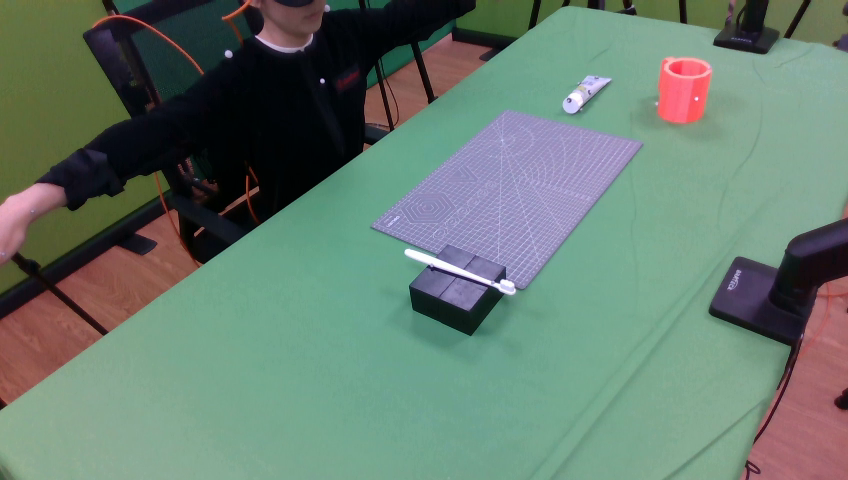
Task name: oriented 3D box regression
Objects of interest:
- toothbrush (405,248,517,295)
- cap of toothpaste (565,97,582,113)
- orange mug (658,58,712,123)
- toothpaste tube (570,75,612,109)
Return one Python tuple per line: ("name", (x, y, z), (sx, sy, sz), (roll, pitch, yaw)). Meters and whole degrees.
("toothbrush", (0.048, 0.041, 0.850), (0.180, 0.017, 0.014), (19, 52, 28))
("cap of toothpaste", (0.306, -0.278, 1.239), (0.037, 0.037, 0.011), (17, 43, 26))
("orange mug", (0.504, -0.304, 1.193), (0.083, 0.101, 0.125), (-13, 45, -5))
("toothpaste tube", (0.351, -0.319, 1.290), (0.054, 0.034, 0.165), (22, 44, 24))
